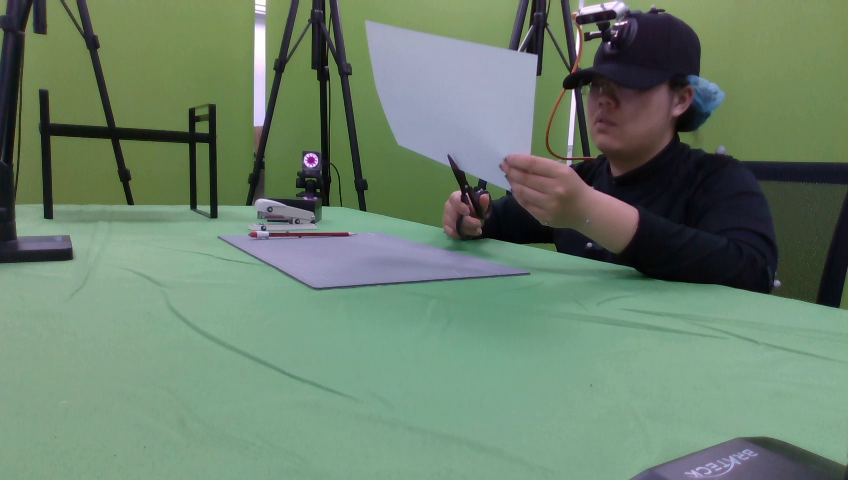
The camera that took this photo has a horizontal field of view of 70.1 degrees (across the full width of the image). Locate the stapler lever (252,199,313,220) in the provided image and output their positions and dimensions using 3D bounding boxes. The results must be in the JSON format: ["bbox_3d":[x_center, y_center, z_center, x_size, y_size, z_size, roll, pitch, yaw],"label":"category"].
[{"bbox_3d":[-0.273,-0.058,1.170,0.119,0.040,0.026,0,10,-37],"label":"stapler lever"}]

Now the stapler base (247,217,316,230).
[{"bbox_3d":[-0.276,-0.033,1.172,0.131,0.024,0.041,0,10,-37],"label":"stapler base"}]

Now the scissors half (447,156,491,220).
[{"bbox_3d":[0.070,-0.083,0.950,0.012,0.040,0.176,27,-10,35],"label":"scissors half"}]

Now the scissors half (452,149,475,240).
[{"bbox_3d":[0.057,-0.067,0.942,0.013,0.175,0.040,22,50,33],"label":"scissors half"}]

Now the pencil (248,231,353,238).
[{"bbox_3d":[-0.206,-0.009,1.039,0.195,0.012,0.012,0,8,-36],"label":"pencil"}]
